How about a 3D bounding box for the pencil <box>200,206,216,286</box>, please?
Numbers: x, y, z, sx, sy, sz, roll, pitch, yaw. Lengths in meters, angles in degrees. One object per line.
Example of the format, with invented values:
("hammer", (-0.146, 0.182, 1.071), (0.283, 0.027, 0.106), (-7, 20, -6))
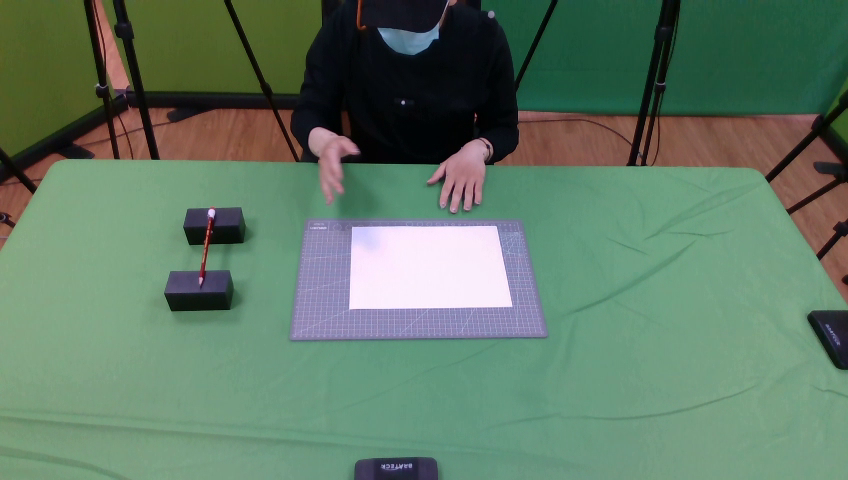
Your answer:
("pencil", (-0.393, 0.007, 1.098), (0.012, 0.012, 0.192), (-3, 48, -7))
